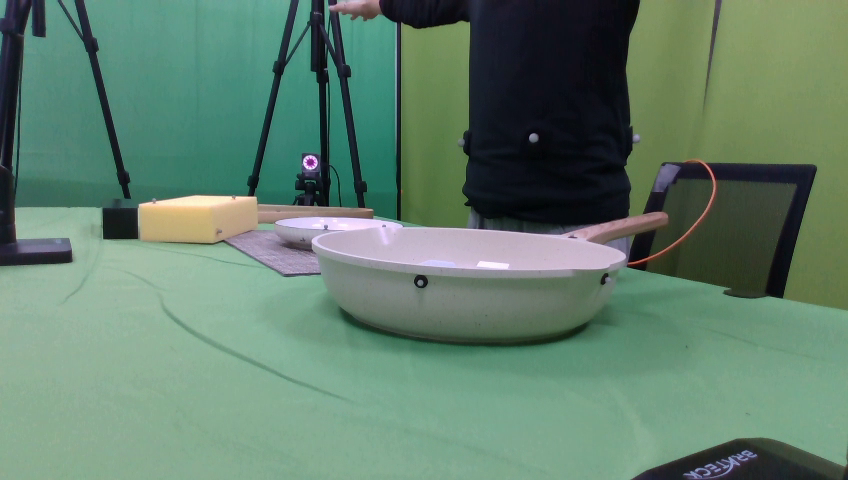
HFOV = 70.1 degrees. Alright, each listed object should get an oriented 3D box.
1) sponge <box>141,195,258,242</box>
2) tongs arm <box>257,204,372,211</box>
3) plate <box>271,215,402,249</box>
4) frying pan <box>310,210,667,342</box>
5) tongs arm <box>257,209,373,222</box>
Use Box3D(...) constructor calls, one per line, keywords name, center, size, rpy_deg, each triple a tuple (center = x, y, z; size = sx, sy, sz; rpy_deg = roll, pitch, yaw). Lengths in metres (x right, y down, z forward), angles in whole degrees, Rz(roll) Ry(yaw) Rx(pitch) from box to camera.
Box3D(name="sponge", center=(-0.380, -0.040, 1.047), size=(0.118, 0.061, 0.207), rpy_deg=(1, 8, 3))
Box3D(name="tongs arm", center=(-0.312, -0.069, 1.417), size=(0.387, 0.026, 0.050), rpy_deg=(1, 8, -24))
Box3D(name="plate", center=(-0.141, -0.012, 0.978), size=(0.208, 0.039, 0.207), rpy_deg=(3, 7, 0))
Box3D(name="frying pan", center=(0.120, 0.011, 0.643), size=(0.490, 0.102, 0.305), rpy_deg=(-13, 16, -36))
Box3D(name="tongs arm", center=(-0.274, -0.054, 1.347), size=(0.390, 0.028, 0.028), rpy_deg=(-3, 6, -37))
